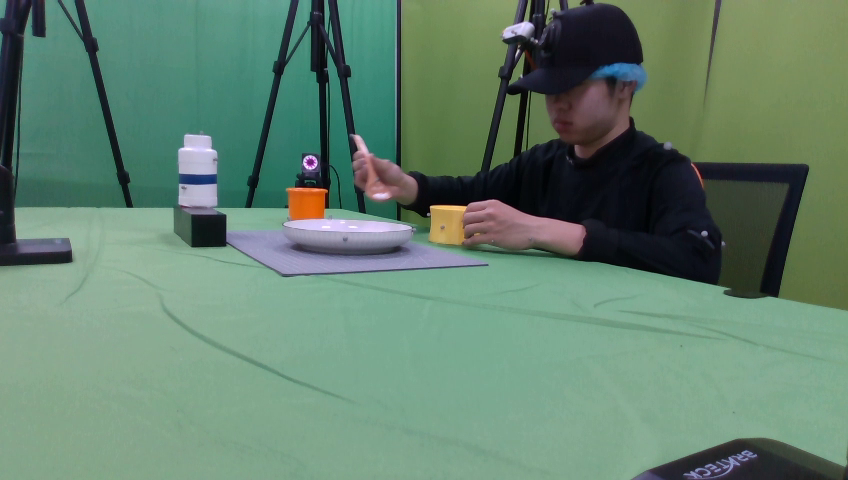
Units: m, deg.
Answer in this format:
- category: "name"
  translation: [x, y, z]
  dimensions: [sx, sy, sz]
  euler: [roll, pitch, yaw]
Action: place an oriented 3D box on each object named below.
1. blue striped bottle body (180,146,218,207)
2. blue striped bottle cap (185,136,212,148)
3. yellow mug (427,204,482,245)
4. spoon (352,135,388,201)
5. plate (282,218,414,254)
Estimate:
- category: "blue striped bottle body"
  translation: [-0.392, -0.119, 1.053]
  dimensions: [0.063, 0.120, 0.063]
  euler: [2, 8, 0]
- category: "blue striped bottle cap"
  translation: [-0.390, -0.169, 1.047]
  dimensions: [0.044, 0.020, 0.044]
  euler: [4, 10, 0]
- category: "yellow mug"
  translation: [0.062, -0.028, 1.111]
  dimensions: [0.100, 0.064, 0.130]
  euler: [0, 9, -21]
- category: "spoon"
  translation: [-0.103, -0.134, 1.097]
  dimensions: [0.042, 0.021, 0.193]
  euler: [-2, 49, -22]
- category: "plate"
  translation: [-0.121, -0.007, 0.971]
  dimensions: [0.208, 0.039, 0.207]
  euler: [2, 7, 0]
